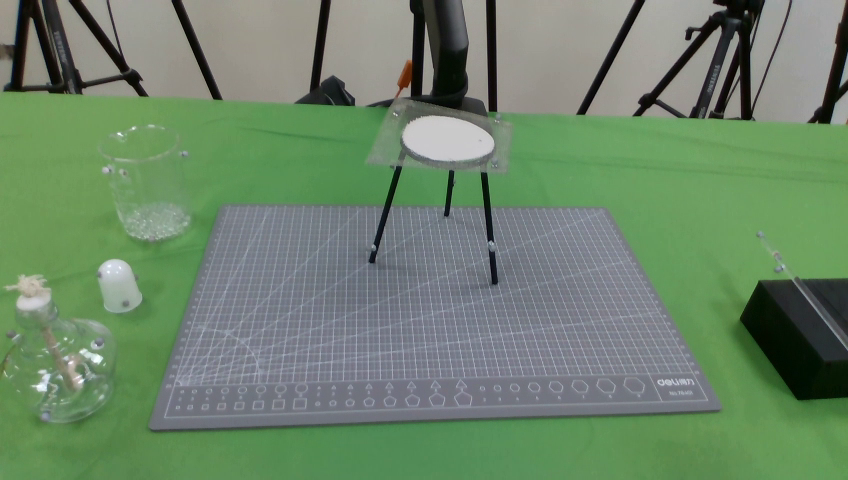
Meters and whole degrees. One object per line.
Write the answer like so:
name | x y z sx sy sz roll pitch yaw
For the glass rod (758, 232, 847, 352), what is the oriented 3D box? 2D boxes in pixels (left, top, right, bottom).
glass rod | 0.344 0.054 0.537 0.008 0.008 0.197 2 38 -4

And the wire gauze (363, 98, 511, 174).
wire gauze | 0.018 -0.095 0.555 0.121 0.011 0.124 10 37 4

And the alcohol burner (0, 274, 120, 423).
alcohol burner | -0.264 0.074 0.431 0.078 0.120 0.077 2 37 -1

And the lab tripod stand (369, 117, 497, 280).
lab tripod stand | 0.020 -0.041 0.596 0.148 0.132 0.147 5 37 -3

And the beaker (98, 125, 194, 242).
beaker | -0.278 -0.056 0.613 0.083 0.101 0.074 28 43 28

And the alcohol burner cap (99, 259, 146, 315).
alcohol burner cap | -0.269 0.039 0.537 0.034 0.048 0.033 3 37 -2
